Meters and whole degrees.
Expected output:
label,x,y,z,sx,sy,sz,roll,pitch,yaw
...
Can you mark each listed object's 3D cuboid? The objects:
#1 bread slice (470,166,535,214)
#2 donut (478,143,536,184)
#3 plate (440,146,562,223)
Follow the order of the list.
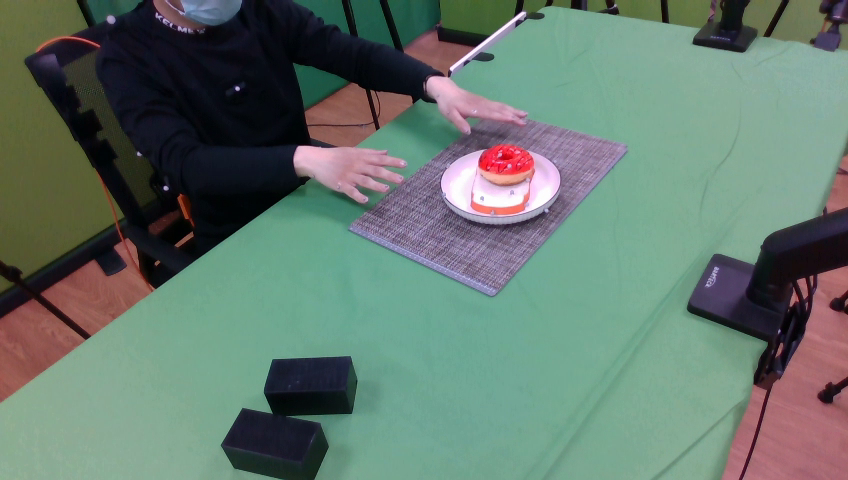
label,x,y,z,sx,sy,sz,roll,pitch,yaw
bread slice,0.134,-0.089,1.039,0.104,0.019,0.131,4,40,12
donut,0.142,-0.132,1.040,0.099,0.048,0.098,-4,37,3
plate,0.131,-0.093,1.040,0.207,0.039,0.206,-4,41,4
